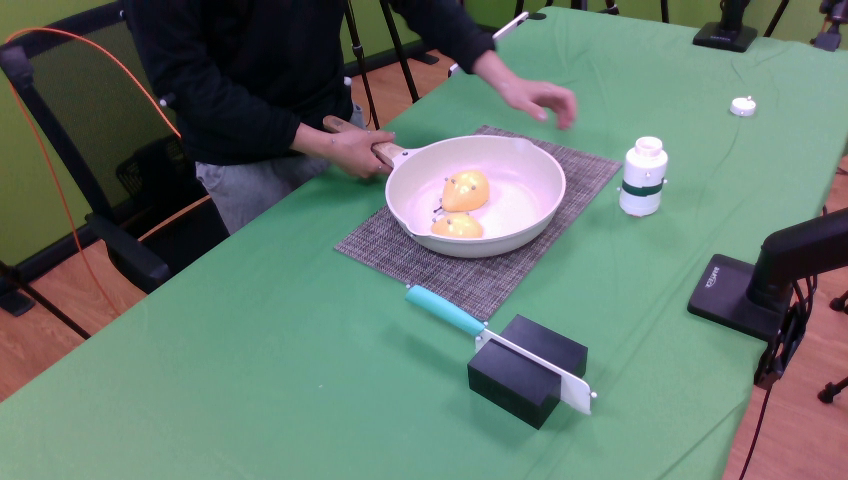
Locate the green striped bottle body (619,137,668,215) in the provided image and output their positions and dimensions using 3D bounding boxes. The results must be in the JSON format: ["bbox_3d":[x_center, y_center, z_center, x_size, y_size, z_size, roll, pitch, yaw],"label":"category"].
[{"bbox_3d":[0.350,-0.103,0.963,0.063,0.120,0.063,-4,41,4],"label":"green striped bottle body"}]

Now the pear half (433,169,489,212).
[{"bbox_3d":[0.057,-0.083,1.024,0.110,0.056,0.075,-34,42,-24],"label":"pear half"}]

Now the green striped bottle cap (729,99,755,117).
[{"bbox_3d":[0.623,-0.259,1.182,0.044,0.020,0.044,-3,40,3],"label":"green striped bottle cap"}]

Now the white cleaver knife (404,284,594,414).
[{"bbox_3d":[0.084,0.135,0.764,0.284,0.066,0.021,28,47,31],"label":"white cleaver knife"}]

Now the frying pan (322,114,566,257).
[{"bbox_3d":[0.004,-0.121,1.039,0.484,0.103,0.308,31,52,25],"label":"frying pan"}]

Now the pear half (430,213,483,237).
[{"bbox_3d":[0.051,-0.024,0.972,0.087,0.031,0.070,14,40,18],"label":"pear half"}]
